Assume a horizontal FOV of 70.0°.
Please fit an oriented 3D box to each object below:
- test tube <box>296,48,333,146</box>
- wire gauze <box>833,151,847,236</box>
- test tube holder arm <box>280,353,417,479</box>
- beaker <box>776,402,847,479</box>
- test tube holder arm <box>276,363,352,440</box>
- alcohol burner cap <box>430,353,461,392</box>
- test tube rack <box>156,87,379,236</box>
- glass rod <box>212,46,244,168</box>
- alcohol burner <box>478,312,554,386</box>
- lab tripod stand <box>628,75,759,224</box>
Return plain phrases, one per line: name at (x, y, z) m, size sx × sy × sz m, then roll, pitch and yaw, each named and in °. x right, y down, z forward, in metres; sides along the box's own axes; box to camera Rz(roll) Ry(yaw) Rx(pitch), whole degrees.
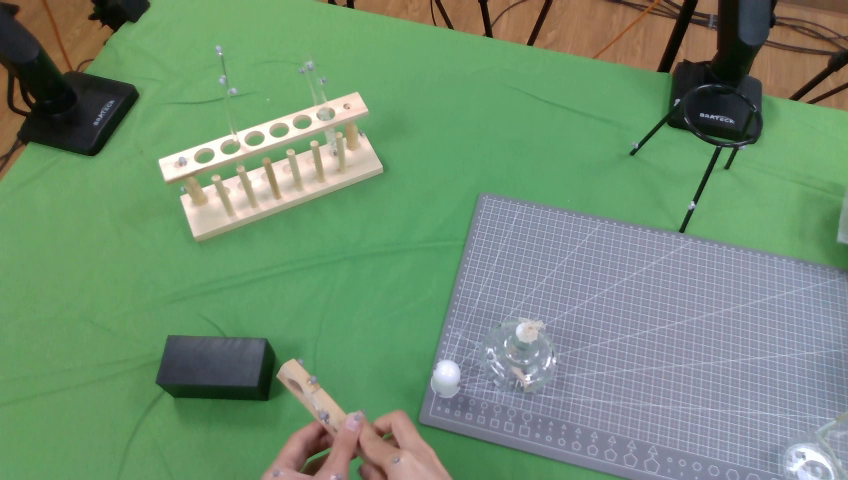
test tube at (-0.125, -0.163, 0.714) m, size 0.017 × 0.151 × 0.017 m, roll -2°, pitch 59°, yaw 4°
wire gauze at (0.540, -0.040, 0.695) m, size 0.121 × 0.011 × 0.124 m, roll 20°, pitch 62°, yaw 11°
test tube holder arm at (-0.056, 0.160, 0.507) m, size 0.177 × 0.013 × 0.015 m, roll 41°, pitch 33°, yaw 13°
beaker at (0.382, 0.197, 0.562) m, size 0.084 × 0.101 × 0.073 m, roll 18°, pitch 62°, yaw 11°
test tube holder arm at (-0.092, 0.136, 0.520) m, size 0.087 × 0.010 × 0.015 m, roll 41°, pitch 33°, yaw 13°
alcohol burner cap at (0.022, 0.136, 0.626) m, size 0.034 × 0.048 × 0.033 m, roll -1°, pitch 60°, yaw 3°
test tube rack at (-0.180, -0.096, 0.732) m, size 0.242 × 0.086 × 0.066 m, roll -23°, pitch 63°, yaw -13°
glass rod at (-0.215, -0.130, 0.676) m, size 0.008 × 0.201 × 0.008 m, roll 3°, pitch 53°, yaw -4°
alcohol burner at (0.094, 0.102, 0.605) m, size 0.078 × 0.120 × 0.077 m, roll 1°, pitch 60°, yaw -2°
lab tripod stand at (0.324, -0.113, 0.719) m, size 0.148 × 0.132 × 0.147 m, roll 1°, pitch 62°, yaw -1°
